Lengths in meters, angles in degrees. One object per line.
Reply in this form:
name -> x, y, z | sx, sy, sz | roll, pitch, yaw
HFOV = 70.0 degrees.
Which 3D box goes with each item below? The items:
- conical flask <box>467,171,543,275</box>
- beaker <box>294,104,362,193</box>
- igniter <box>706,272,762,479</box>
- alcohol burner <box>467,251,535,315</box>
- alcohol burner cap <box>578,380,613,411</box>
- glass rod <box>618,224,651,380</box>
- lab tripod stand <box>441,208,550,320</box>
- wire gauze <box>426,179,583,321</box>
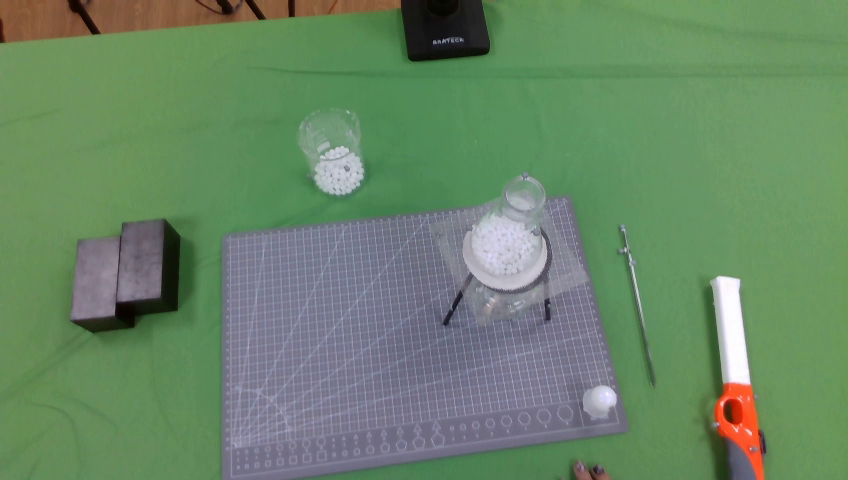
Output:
conical flask -> 0.081, -0.020, 0.567 | 0.075, 0.122, 0.075 | 0, 69, -1
beaker -> -0.114, -0.112, 0.759 | 0.073, 0.101, 0.084 | 39, 72, 14
igniter -> 0.350, 0.169, 0.690 | 0.057, 0.025, 0.274 | 9, 67, -8
alcohol burner -> 0.090, 0.043, 0.688 | 0.078, 0.120, 0.077 | 1, 67, -2
alcohol burner cap -> 0.194, 0.171, 0.675 | 0.034, 0.048, 0.033 | 0, 68, -1
glass rod -> 0.255, 0.071, 0.738 | 0.008, 0.008, 0.198 | -2, 67, -2
lab tripod stand -> 0.082, 0.035, 0.680 | 0.148, 0.132, 0.147 | 0, 69, 0
wire gauze -> 0.082, 0.008, 0.620 | 0.125, 0.011, 0.120 | -22, 72, -11
